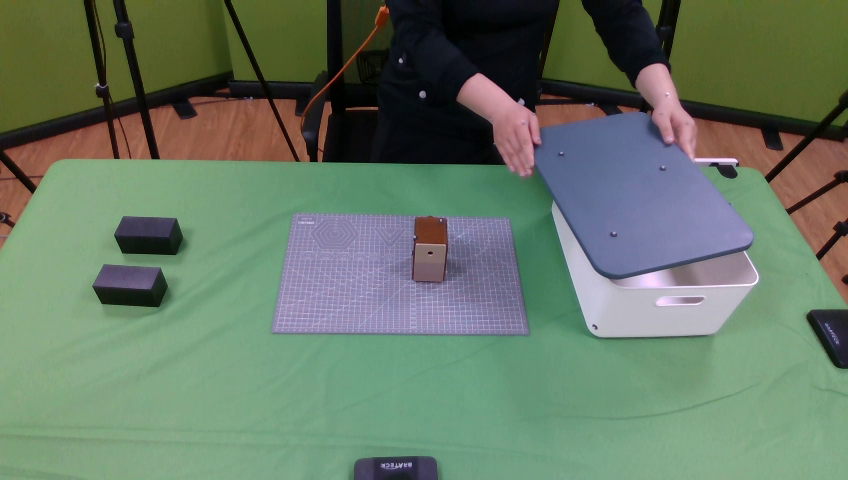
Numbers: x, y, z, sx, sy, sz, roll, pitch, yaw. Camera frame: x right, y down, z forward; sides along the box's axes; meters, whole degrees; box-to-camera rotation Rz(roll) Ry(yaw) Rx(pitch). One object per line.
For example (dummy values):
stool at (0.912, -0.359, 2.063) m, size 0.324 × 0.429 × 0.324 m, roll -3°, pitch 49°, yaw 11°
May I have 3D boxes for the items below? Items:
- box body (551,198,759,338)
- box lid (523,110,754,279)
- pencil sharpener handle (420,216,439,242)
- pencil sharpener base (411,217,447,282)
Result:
box body at (0.400, -0.001, 1.131) m, size 0.254 × 0.161 × 0.361 m, roll -1°, pitch 46°, yaw -5°
box lid at (0.346, -0.093, 1.023) m, size 0.263 × 0.015 × 0.369 m, roll -12°, pitch 48°, yaw -8°
pencil sharpener handle at (0.007, -0.028, 1.145) m, size 0.036 × 0.068 × 0.030 m, roll 6°, pitch 45°, yaw -6°
pencil sharpener base at (0.009, 0.017, 1.118) m, size 0.061 × 0.107 × 0.076 m, roll 2°, pitch 45°, yaw -2°
